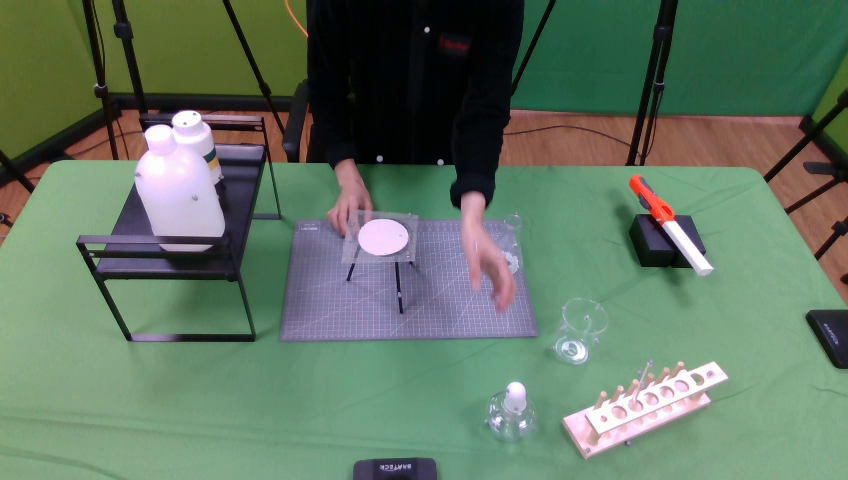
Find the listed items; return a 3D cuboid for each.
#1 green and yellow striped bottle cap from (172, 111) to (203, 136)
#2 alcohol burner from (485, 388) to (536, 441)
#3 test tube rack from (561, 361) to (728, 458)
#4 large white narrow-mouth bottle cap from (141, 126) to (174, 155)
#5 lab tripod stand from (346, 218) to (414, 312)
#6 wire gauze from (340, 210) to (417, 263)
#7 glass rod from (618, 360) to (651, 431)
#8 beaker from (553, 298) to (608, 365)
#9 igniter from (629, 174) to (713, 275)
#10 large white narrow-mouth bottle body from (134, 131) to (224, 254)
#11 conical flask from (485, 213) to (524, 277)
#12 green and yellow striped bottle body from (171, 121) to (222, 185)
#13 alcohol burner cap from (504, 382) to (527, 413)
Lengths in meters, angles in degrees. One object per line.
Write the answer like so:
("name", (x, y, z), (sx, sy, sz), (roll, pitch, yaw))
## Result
("green and yellow striped bottle cap", (-0.374, -0.185, 0.958), (0.045, 0.020, 0.045), (4, 45, -3))
("alcohol burner", (0.131, 0.249, 0.904), (0.078, 0.120, 0.077), (1, 48, -1))
("test tube rack", (0.341, 0.248, 0.940), (0.243, 0.085, 0.066), (-15, 49, -18))
("large white narrow-mouth bottle cap", (-0.356, -0.133, 0.811), (0.038, 0.024, 0.037), (1, 48, -1))
("lab tripod stand", (-0.070, 0.037, 1.075), (0.148, 0.132, 0.147), (1, 48, -1))
("wire gauze", (-0.074, -0.007, 1.023), (0.121, 0.011, 0.124), (3, 45, 0))
("glass rod", (0.298, 0.226, 0.865), (0.008, 0.201, 0.008), (-2, 48, 2))
("beaker", (0.260, 0.154, 1.014), (0.073, 0.101, 0.084), (37, 54, 27))
("igniter", (0.481, -0.040, 1.202), (0.057, 0.025, 0.274), (-2, 46, -21))
("large white narrow-mouth bottle body", (-0.358, -0.075, 0.875), (0.102, 0.195, 0.101), (1, 48, -1))
("conical flask", (0.157, 0.007, 1.129), (0.075, 0.122, 0.075), (2, 46, -2))
("green and yellow striped bottle body", (-0.375, -0.149, 0.995), (0.063, 0.120, 0.063), (2, 46, -2))
("alcohol burner cap", (0.132, 0.225, 0.877), (0.034, 0.048, 0.033), (-4, 47, 4))
